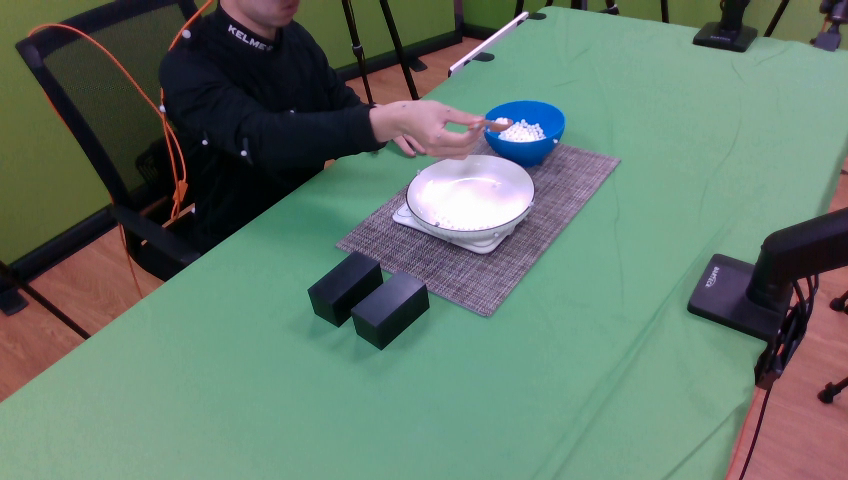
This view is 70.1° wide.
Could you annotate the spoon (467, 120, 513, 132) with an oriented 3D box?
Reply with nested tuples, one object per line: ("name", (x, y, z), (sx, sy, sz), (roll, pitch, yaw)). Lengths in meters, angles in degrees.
("spoon", (0.100, -0.180, 0.946), (0.041, 0.021, 0.194), (-4, 7, 24))

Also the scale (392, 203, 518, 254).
("scale", (0.060, -0.050, 1.006), (0.199, 0.032, 0.149), (22, 48, 30))

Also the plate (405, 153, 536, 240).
("plate", (0.075, -0.067, 0.973), (0.209, 0.038, 0.208), (-4, 41, 4))

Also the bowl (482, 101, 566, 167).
("bowl", (0.183, -0.186, 1.111), (0.151, 0.077, 0.150), (-4, 40, 4))
